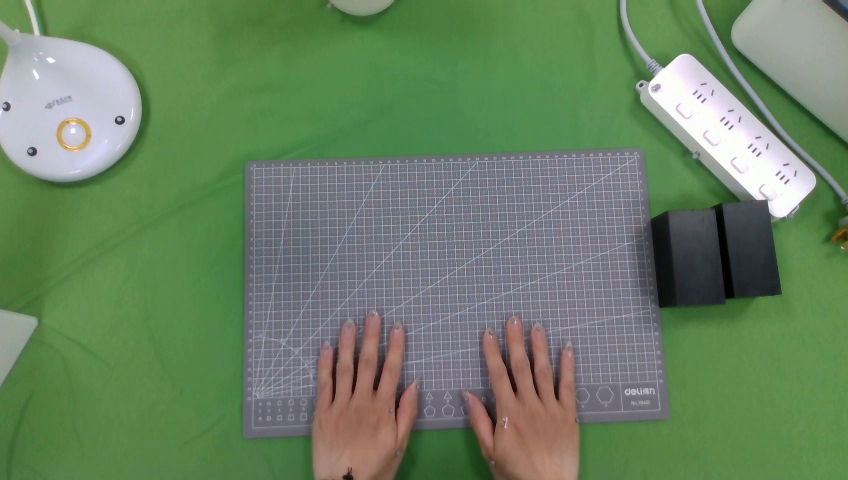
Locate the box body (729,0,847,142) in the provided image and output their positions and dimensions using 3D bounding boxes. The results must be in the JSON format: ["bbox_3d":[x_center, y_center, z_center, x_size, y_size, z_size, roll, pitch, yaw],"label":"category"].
[{"bbox_3d":[0.550,-0.220,0.635,0.363,0.161,0.254,42,83,5],"label":"box body"}]

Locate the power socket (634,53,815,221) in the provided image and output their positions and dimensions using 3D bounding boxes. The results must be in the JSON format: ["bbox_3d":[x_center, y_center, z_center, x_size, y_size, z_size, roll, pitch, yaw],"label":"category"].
[{"bbox_3d":[0.337,-0.116,0.681,0.072,0.032,0.226,-42,84,-7],"label":"power socket"}]

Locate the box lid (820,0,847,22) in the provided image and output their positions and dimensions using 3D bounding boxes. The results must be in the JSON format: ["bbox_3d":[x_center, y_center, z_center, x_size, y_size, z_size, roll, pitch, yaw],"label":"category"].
[{"bbox_3d":[0.552,-0.231,0.562,0.370,0.015,0.263,42,84,5],"label":"box lid"}]

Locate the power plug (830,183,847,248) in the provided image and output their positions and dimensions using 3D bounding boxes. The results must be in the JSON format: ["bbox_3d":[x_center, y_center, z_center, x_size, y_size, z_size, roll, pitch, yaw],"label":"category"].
[{"bbox_3d":[0.468,-0.023,0.679,0.052,0.035,0.072,-33,41,2],"label":"power plug"}]

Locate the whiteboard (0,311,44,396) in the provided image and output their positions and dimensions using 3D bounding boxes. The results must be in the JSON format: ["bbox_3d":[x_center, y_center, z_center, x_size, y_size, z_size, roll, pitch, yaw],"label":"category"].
[{"bbox_3d":[-0.555,0.108,0.520,0.143,0.308,0.217,25,81,23],"label":"whiteboard"}]

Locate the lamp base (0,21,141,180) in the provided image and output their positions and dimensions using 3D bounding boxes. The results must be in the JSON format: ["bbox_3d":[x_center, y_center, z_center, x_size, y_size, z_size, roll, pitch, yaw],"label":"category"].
[{"bbox_3d":[-0.403,-0.167,0.598,0.160,0.181,0.178,-33,80,-6],"label":"lamp base"}]

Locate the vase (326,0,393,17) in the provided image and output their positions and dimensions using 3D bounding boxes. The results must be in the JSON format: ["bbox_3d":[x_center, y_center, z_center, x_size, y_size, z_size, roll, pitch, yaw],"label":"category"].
[{"bbox_3d":[-0.072,-0.318,0.620,0.098,0.200,0.098,0,79,-2],"label":"vase"}]
